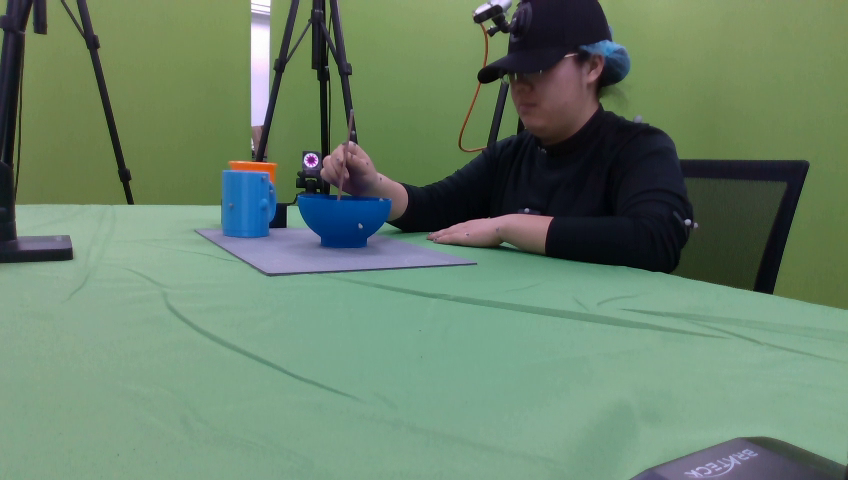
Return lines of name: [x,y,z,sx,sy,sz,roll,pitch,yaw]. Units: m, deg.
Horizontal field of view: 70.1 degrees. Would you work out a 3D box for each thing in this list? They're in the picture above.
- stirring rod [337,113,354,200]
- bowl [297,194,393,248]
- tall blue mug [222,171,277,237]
stirring rod: [-0.124,-0.114,0.934,0.006,0.176,0.014,11,-13,-16]
bowl: [-0.127,-0.030,0.963,0.151,0.077,0.151,2,7,0]
tall blue mug: [-0.303,-0.064,1.043,0.078,0.108,0.107,1,7,-4]
